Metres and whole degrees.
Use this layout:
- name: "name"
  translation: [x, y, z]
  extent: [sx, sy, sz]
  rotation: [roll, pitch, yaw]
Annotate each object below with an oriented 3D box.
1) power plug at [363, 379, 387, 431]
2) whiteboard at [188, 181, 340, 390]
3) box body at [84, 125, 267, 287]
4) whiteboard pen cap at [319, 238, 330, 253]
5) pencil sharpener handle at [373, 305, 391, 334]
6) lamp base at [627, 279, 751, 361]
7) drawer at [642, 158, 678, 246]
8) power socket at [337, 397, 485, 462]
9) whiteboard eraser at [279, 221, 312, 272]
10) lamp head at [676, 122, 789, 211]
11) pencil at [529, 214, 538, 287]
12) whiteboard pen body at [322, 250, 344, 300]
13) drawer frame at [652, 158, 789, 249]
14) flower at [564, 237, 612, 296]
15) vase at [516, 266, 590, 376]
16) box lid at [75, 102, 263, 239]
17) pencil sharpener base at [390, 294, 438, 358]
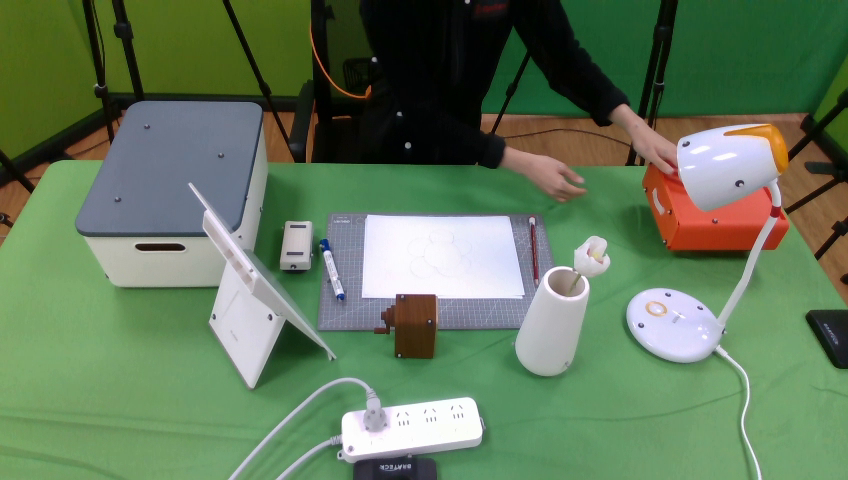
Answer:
- name: "power plug"
  translation: [-0.072, 0.252, 0.910]
  extent: [0.035, 0.053, 0.072]
  rotation: [3, 45, -1]
- name: "whiteboard"
  translation: [-0.292, 0.096, 0.929]
  extent: [0.144, 0.307, 0.216]
  rotation: [-38, 57, -10]
- name: "box body"
  translation: [-0.446, -0.088, 1.150]
  extent: [0.254, 0.161, 0.361]
  rotation: [-1, 46, -5]
- name: "whiteboard pen cap"
  translation: [-0.191, 0.013, 1.163]
  extent: [0.018, 0.018, 0.033]
  rotation: [-13, 50, -16]
- name: "pencil sharpener handle"
  translation: [-0.069, 0.133, 0.989]
  extent: [0.030, 0.068, 0.036]
  rotation: [1, 47, -2]
- name: "lamp base"
  translation: [0.459, 0.100, 1.027]
  extent: [0.178, 0.181, 0.160]
  rotation: [27, 51, 17]
- name: "drawer"
  translation: [0.566, -0.075, 1.212]
  extent: [0.212, 0.073, 0.193]
  rotation: [2, 45, -2]
- name: "power socket"
  translation: [-0.018, 0.285, 0.915]
  extent: [0.227, 0.033, 0.071]
  rotation: [-5, 46, -8]
- name: "whiteboard eraser"
  translation: [-0.244, 0.012, 1.154]
  extent: [0.055, 0.042, 0.112]
  rotation: [-2, 46, -4]
- name: "lamp head"
  translation: [0.423, -0.104, 0.819]
  extent: [0.122, 0.113, 0.112]
  rotation: [-13, 33, 40]
- name: "pencil"
  translation: [0.219, 0.019, 1.202]
  extent: [0.012, 0.012, 0.193]
  rotation: [5, 47, 0]
- name: "whiteboard pen body"
  translation: [-0.173, 0.056, 1.127]
  extent: [0.017, 0.017, 0.140]
  rotation: [-12, 49, -16]
- name: "drawer frame"
  translation: [0.571, -0.075, 1.214]
  extent: [0.214, 0.083, 0.200]
  rotation: [0, 45, -1]
- name: "flower"
  translation: [0.206, 0.088, 0.893]
  extent: [0.038, 0.363, 0.044]
  rotation: [-16, 67, -9]
- name: "vase"
  translation: [0.208, 0.132, 0.965]
  extent: [0.098, 0.201, 0.097]
  rotation: [3, 46, -3]
- name: "box lid"
  translation: [-0.443, -0.138, 1.094]
  extent: [0.263, 0.015, 0.369]
  rotation: [-1, 47, -5]
- name: "pencil sharpener base"
  translation: [-0.018, 0.143, 1.000]
  extent: [0.077, 0.107, 0.061]
  rotation: [1, 46, -2]
